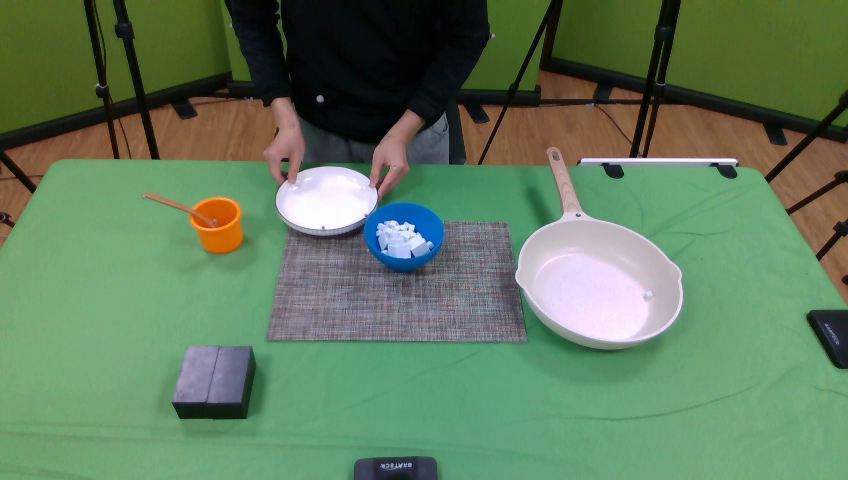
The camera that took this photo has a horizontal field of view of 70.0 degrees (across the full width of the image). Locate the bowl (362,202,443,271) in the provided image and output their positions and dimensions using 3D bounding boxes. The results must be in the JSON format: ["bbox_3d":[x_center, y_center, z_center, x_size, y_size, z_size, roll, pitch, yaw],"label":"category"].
[{"bbox_3d":[-0.041,0.006,1.144,0.151,0.077,0.150,2,46,-2],"label":"bowl"}]

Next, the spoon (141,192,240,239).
[{"bbox_3d":[-0.428,-0.048,1.123,0.021,0.195,0.041,-38,44,20],"label":"spoon"}]

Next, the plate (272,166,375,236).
[{"bbox_3d":[-0.203,-0.076,1.241,0.208,0.039,0.206,2,43,-2],"label":"plate"}]

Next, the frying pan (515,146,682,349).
[{"bbox_3d":[0.303,-0.004,1.168,0.307,0.103,0.484,-1,55,-7],"label":"frying pan"}]
